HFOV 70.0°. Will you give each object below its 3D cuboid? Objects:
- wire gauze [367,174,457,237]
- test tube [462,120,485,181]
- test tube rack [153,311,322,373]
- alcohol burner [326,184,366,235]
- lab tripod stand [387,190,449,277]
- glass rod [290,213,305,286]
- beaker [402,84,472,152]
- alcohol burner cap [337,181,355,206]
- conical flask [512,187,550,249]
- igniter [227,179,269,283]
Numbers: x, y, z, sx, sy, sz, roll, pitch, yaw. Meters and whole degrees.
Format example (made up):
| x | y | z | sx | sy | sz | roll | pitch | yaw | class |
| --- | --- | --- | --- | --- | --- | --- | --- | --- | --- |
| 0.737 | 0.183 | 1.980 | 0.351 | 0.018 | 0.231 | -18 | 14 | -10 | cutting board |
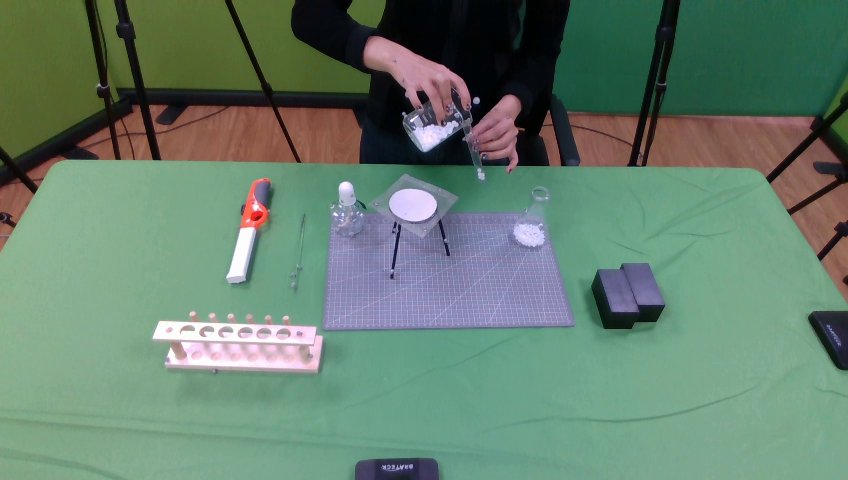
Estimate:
| x | y | z | sx | sy | sz | roll | pitch | yaw | class |
| --- | --- | --- | --- | --- | --- | --- | --- | --- | --- |
| -0.021 | -0.067 | 1.089 | 0.124 | 0.011 | 0.121 | 28 | 49 | 21 | wire gauze |
| 0.092 | -0.160 | 1.112 | 0.017 | 0.151 | 0.017 | -9 | 51 | 12 | test tube |
| -0.293 | 0.160 | 0.978 | 0.242 | 0.085 | 0.066 | 3 | 46 | -2 | test tube rack |
| -0.152 | -0.066 | 1.184 | 0.078 | 0.119 | 0.077 | 4 | 46 | -4 | alcohol burner |
| -0.021 | -0.018 | 1.135 | 0.148 | 0.132 | 0.147 | 3 | 44 | -3 | lab tripod stand |
| -0.245 | 0.015 | 1.175 | 0.008 | 0.008 | 0.198 | 1 | 43 | -3 | glass rod |
| 0.021 | -0.201 | 1.023 | 0.100 | 0.084 | 0.073 | -35 | 46 | -3 | beaker |
| -0.151 | -0.090 | 1.157 | 0.034 | 0.048 | 0.033 | 0 | 52 | 0 | alcohol burner cap |
| 0.217 | -0.048 | 1.190 | 0.075 | 0.122 | 0.075 | 2 | 46 | -2 | conical flask |
| -0.345 | -0.027 | 1.195 | 0.057 | 0.025 | 0.274 | -6 | 46 | 5 | igniter |
